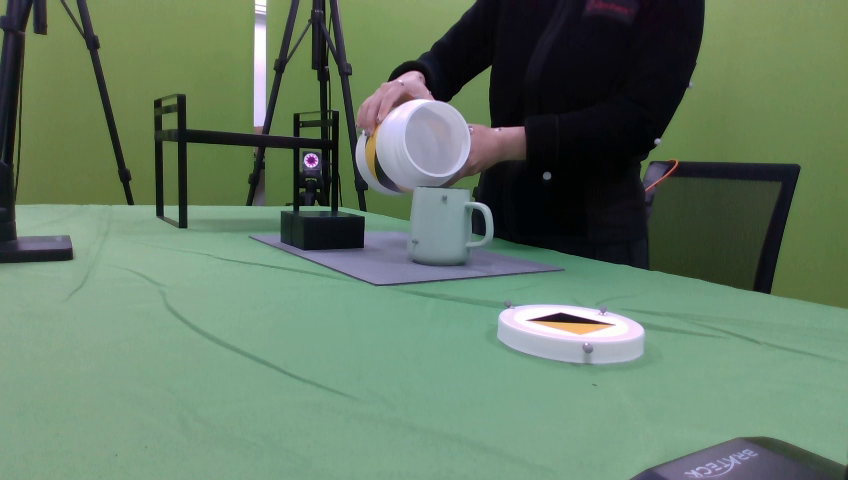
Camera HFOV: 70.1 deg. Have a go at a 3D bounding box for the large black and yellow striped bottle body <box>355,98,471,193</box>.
[{"bbox_3d":[-0.018,-0.142,0.922,0.131,0.130,0.183,-1,0,-24],"label":"large black and yellow striped bottle body"}]

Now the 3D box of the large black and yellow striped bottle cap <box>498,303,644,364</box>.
[{"bbox_3d":[0.117,0.072,0.486,0.115,0.019,0.115,1,8,0],"label":"large black and yellow striped bottle cap"}]

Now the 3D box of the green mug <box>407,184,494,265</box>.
[{"bbox_3d":[0.038,-0.021,0.827,0.125,0.105,0.093,6,8,30],"label":"green mug"}]
